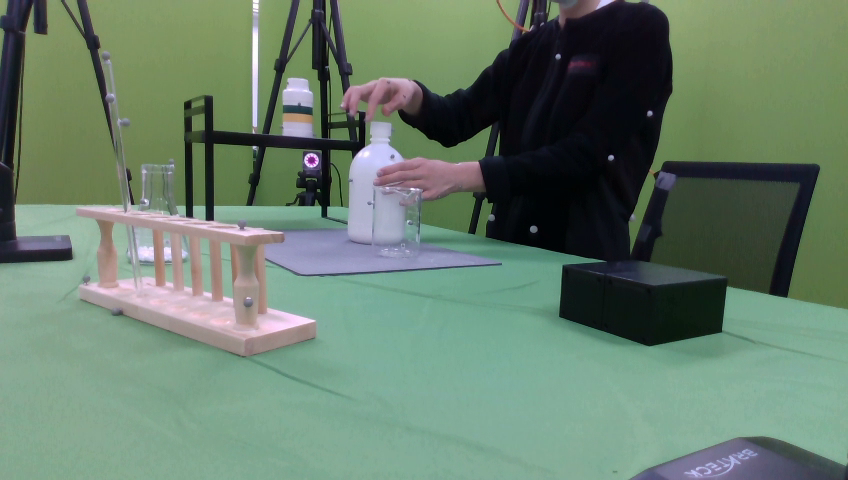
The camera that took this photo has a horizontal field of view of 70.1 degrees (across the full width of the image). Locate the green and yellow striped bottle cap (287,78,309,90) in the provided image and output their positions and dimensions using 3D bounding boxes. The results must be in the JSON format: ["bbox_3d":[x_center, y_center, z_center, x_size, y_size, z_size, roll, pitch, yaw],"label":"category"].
[{"bbox_3d":[-0.265,-0.326,1.268,0.045,0.020,0.045,4,6,0],"label":"green and yellow striped bottle cap"}]

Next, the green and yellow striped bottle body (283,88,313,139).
[{"bbox_3d":[-0.266,-0.275,1.275,0.063,0.119,0.063,3,7,0],"label":"green and yellow striped bottle body"}]

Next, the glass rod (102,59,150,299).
[{"bbox_3d":[-0.243,-0.045,0.496,0.008,0.199,0.008,-4,13,1],"label":"glass rod"}]

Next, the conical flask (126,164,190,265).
[{"bbox_3d":[-0.332,-0.033,0.756,0.075,0.122,0.075,2,7,0],"label":"conical flask"}]

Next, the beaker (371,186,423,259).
[{"bbox_3d":[-0.038,-0.025,0.868,0.074,0.100,0.083,-1,8,-22],"label":"beaker"}]

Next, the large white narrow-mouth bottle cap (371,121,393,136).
[{"bbox_3d":[-0.068,-0.183,0.996,0.038,0.024,0.037,4,8,0],"label":"large white narrow-mouth bottle cap"}]

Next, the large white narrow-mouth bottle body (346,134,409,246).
[{"bbox_3d":[-0.076,-0.092,1.011,0.102,0.194,0.102,4,8,0],"label":"large white narrow-mouth bottle body"}]

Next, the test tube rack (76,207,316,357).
[{"bbox_3d":[-0.196,0.023,0.500,0.241,0.085,0.067,8,9,36],"label":"test tube rack"}]
